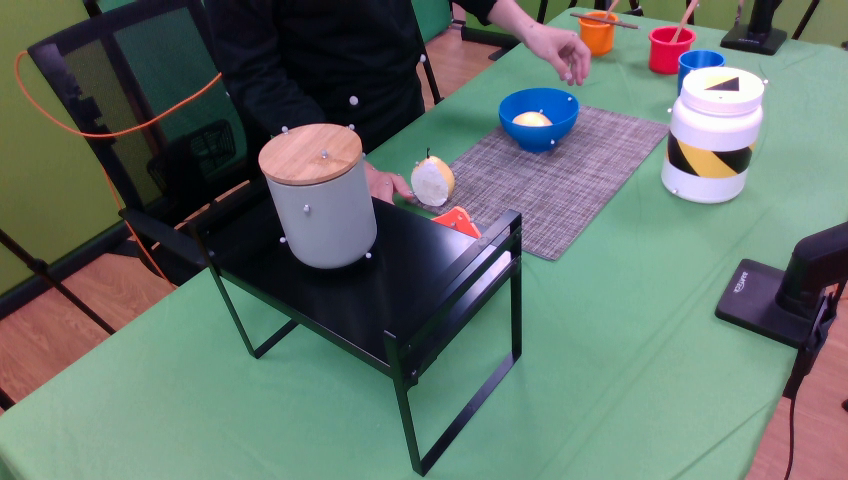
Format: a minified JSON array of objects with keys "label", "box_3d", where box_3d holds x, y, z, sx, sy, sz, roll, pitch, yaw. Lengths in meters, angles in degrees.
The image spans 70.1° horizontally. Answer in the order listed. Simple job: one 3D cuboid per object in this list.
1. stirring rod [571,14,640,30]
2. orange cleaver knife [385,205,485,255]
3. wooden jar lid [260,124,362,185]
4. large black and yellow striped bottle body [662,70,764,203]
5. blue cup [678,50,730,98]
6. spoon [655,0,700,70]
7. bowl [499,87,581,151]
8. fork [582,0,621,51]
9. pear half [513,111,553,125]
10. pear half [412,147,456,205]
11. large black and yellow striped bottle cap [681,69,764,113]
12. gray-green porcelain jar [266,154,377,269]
[{"label":"stirring rod","box_3d":[0.419,-0.508,1.404,0.174,0.006,0.014,28,55,35]},{"label":"orange cleaver knife","box_3d":[0.012,-0.010,0.942,0.012,0.077,0.210,-36,19,-35]},{"label":"wooden jar lid","box_3d":[-0.119,-0.088,0.644,0.108,0.021,0.108,-4,40,4]},{"label":"large black and yellow striped bottle body","box_3d":[0.464,-0.166,0.976,0.131,0.185,0.130,-5,41,5]},{"label":"blue cup","box_3d":[0.542,-0.310,1.194,0.092,0.101,0.092,-6,41,6]},{"label":"spoon","box_3d":[0.568,-0.463,1.337,0.041,0.022,0.193,30,97,38]},{"label":"bowl","box_3d":[0.220,-0.223,1.155,0.151,0.077,0.150,-4,40,4]},{"label":"fork","box_3d":[0.446,-0.539,1.438,0.207,0.019,0.028,-57,36,12]},{"label":"pear half","box_3d":[0.214,-0.226,1.149,0.087,0.031,0.070,12,49,14]},{"label":"pear half","box_3d":[0.019,-0.120,1.042,0.076,0.110,0.056,11,44,16]},{"label":"large black and yellow striped bottle cap","box_3d":[0.453,-0.229,0.921,0.115,0.019,0.114,-4,39,4]},{"label":"gray-green porcelain jar","box_3d":[-0.112,-0.039,0.685,0.106,0.127,0.105,-4,40,4]}]
